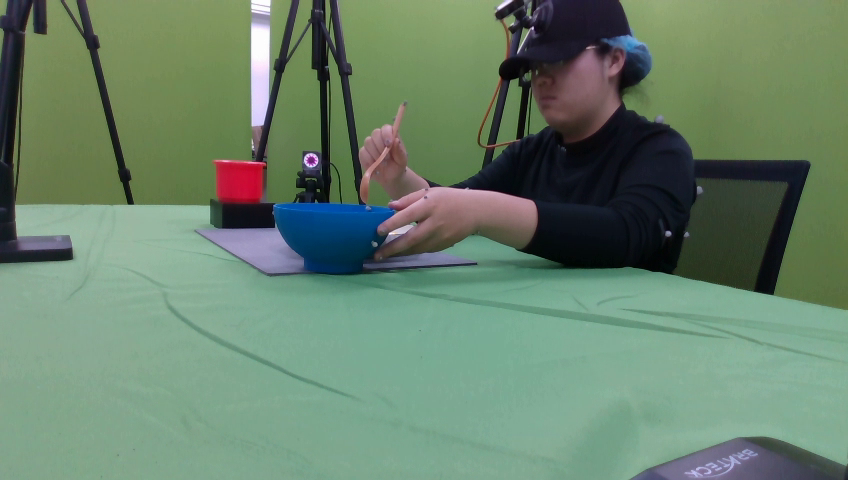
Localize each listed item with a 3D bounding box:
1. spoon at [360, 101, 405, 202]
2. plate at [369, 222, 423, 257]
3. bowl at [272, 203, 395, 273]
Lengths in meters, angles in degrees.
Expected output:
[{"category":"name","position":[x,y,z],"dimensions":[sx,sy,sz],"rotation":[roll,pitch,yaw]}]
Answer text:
[{"category":"spoon","position":[-0.062,-0.141,0.938],"dimensions":[0.021,0.193,0.041],"rotation":[25,-27,-3]},{"category":"plate","position":[-0.105,-0.004,0.922],"dimensions":[0.208,0.039,0.207],"rotation":[3,7,0]},{"category":"bowl","position":[-0.112,-0.003,0.751],"dimensions":[0.151,0.077,0.151],"rotation":[3,7,0]}]
